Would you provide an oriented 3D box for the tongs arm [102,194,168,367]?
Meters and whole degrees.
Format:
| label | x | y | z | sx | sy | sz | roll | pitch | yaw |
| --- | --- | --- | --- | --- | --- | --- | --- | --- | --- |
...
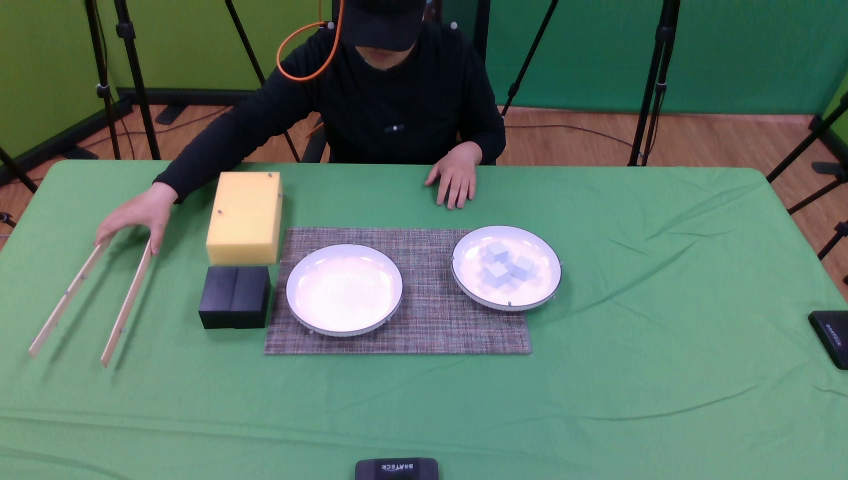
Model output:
| label | x | y | z | sx | sy | sz | roll | pitch | yaw |
| --- | --- | --- | --- | --- | --- | --- | --- | --- | --- |
| tongs arm | -0.511 | 0.055 | 1.082 | 0.028 | 0.028 | 0.385 | 0 | 46 | -4 |

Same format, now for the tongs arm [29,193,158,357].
| label | x | y | z | sx | sy | sz | roll | pitch | yaw |
| --- | --- | --- | --- | --- | --- | --- | --- | --- | --- |
| tongs arm | -0.573 | 0.046 | 1.078 | 0.051 | 0.026 | 0.382 | 8 | 45 | -1 |

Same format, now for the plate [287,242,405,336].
| label | x | y | z | sx | sy | sz | roll | pitch | yaw |
| --- | --- | --- | --- | --- | --- | --- | --- | --- | --- |
| plate | -0.138 | 0.090 | 1.084 | 0.208 | 0.039 | 0.206 | 2 | 46 | -2 |

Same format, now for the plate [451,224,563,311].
| label | x | y | z | sx | sy | sz | roll | pitch | yaw |
| --- | --- | --- | --- | --- | --- | --- | --- | --- | --- |
| plate | 0.154 | 0.053 | 1.140 | 0.209 | 0.038 | 0.208 | 2 | 47 | -2 |

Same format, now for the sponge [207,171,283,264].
| label | x | y | z | sx | sy | sz | roll | pitch | yaw |
| --- | --- | --- | --- | --- | --- | --- | --- | --- | --- |
| sponge | -0.346 | -0.048 | 1.191 | 0.118 | 0.061 | 0.205 | -2 | 46 | -6 |
